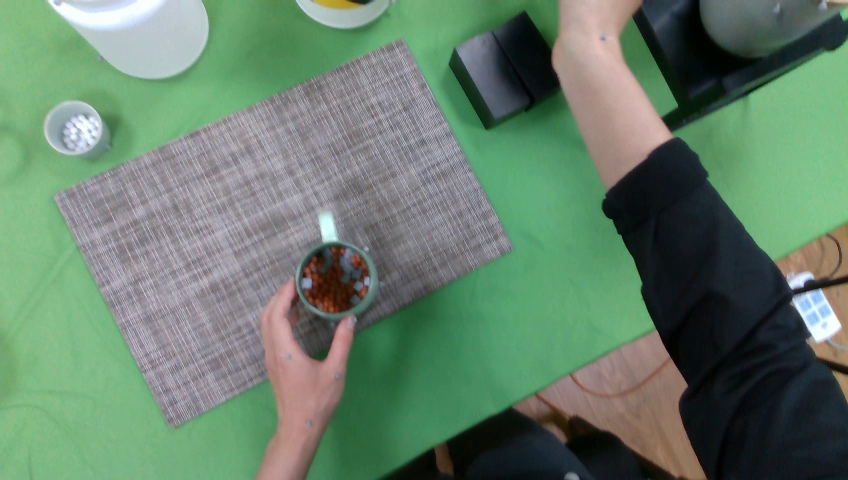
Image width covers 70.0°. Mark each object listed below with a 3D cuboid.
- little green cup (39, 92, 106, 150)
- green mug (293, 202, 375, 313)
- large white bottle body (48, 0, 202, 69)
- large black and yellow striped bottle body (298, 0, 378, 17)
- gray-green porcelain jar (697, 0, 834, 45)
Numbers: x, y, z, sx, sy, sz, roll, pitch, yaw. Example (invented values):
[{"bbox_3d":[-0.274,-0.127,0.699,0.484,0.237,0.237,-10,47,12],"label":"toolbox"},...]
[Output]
[{"bbox_3d":[-0.394,-0.132,0.685,0.061,0.038,0.061,1,86,-7],"label":"little green cup"},{"bbox_3d":[-0.103,0.019,0.670,0.092,0.105,0.125,-11,86,-7],"label":"green mug"},{"bbox_3d":[-0.320,-0.271,0.631,0.131,0.184,0.130,1,85,-6],"label":"large white bottle body"},{"bbox_3d":[-0.099,-0.344,0.663,0.131,0.184,0.130,1,85,-6],"label":"large black and yellow striped bottle body"},{"bbox_3d":[0.323,-0.248,0.554,0.106,0.126,0.105,1,84,-6],"label":"gray-green porcelain jar"}]
